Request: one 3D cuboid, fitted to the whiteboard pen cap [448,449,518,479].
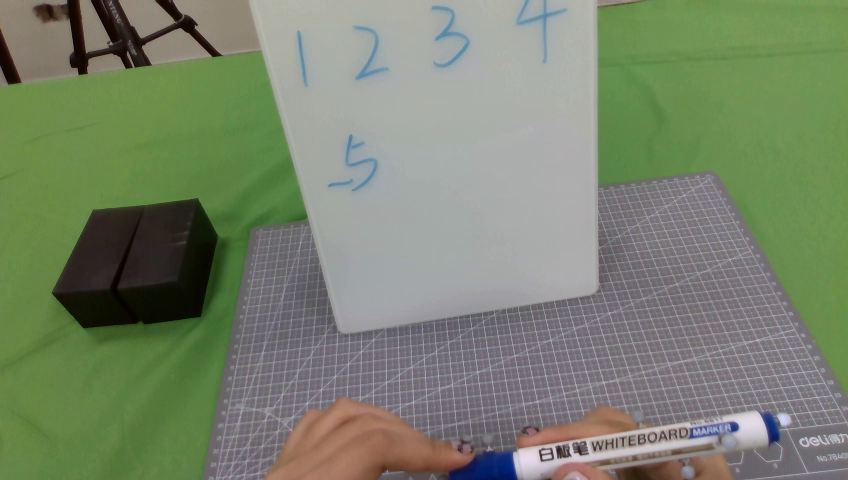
[{"bbox_3d":[0.029,0.109,0.286,0.033,0.018,0.018,-9,47,2],"label":"whiteboard pen cap"}]

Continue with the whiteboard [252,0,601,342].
[{"bbox_3d":[0.013,-0.099,0.480,0.217,0.308,0.142,-8,28,1],"label":"whiteboard"}]

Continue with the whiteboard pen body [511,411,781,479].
[{"bbox_3d":[0.088,0.096,0.277,0.140,0.017,0.017,-12,46,8],"label":"whiteboard pen body"}]
